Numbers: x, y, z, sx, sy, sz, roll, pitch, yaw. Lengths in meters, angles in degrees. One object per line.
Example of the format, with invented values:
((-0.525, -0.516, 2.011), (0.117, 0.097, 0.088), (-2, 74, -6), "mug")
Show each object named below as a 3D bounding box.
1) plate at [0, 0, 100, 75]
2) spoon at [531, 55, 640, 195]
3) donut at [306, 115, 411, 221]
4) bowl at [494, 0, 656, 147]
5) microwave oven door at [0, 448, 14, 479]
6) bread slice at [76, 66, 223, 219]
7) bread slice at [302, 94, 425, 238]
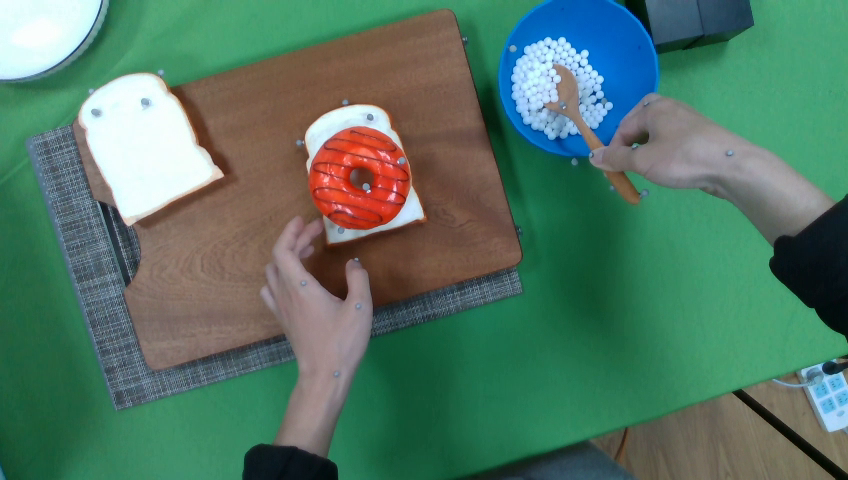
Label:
((-0.421, -0.268, 0.605), (0.208, 0.039, 0.207), (0, 94, -1), "plate")
((0.145, -0.109, 0.554), (0.041, 0.191, 0.022), (-29, 138, 12), "spoon")
((-0.062, -0.067, 0.573), (0.099, 0.048, 0.099), (0, 94, -1), "donut")
((0.140, -0.163, 0.598), (0.151, 0.077, 0.151), (0, 93, 0), "bowl")
((-0.487, 0.141, 0.509), (0.039, 0.243, 0.356), (-19, 93, 1), "microwave oven door")
((-0.277, -0.100, 0.597), (0.107, 0.018, 0.134), (-31, 92, 0), "bread slice")
((-0.068, -0.076, 0.602), (0.105, 0.019, 0.131), (-17, 95, -1), "bread slice")
